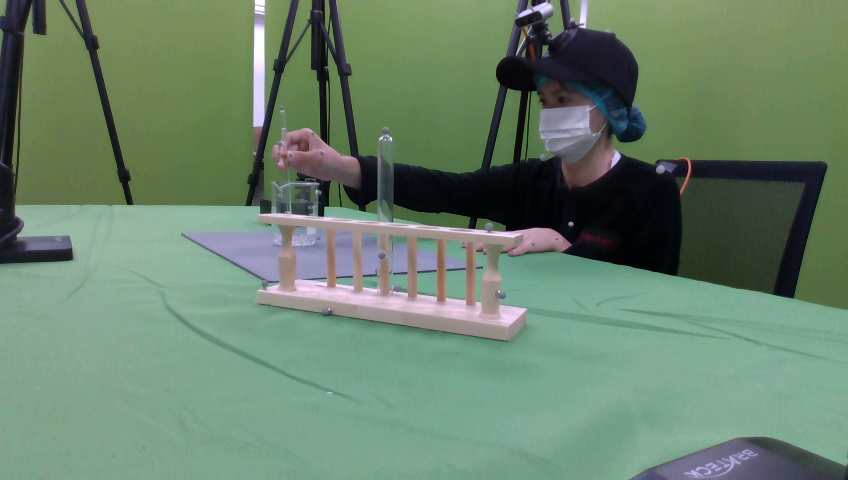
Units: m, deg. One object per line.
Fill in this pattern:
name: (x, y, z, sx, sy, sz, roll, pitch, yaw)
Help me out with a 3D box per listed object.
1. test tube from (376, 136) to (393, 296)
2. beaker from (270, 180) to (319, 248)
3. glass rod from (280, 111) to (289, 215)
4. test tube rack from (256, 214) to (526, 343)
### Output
test tube: (-0.037, -0.021, 0.565, 0.017, 0.150, 0.017, 1, 6, 0)
beaker: (-0.203, -0.040, 0.935, 0.074, 0.100, 0.084, 5, 8, 18)
glass rod: (-0.212, -0.096, 0.920, 0.008, 0.199, 0.008, -1, 7, 0)
test tube rack: (-0.032, 0.027, 0.547, 0.241, 0.085, 0.067, 5, 7, 22)
